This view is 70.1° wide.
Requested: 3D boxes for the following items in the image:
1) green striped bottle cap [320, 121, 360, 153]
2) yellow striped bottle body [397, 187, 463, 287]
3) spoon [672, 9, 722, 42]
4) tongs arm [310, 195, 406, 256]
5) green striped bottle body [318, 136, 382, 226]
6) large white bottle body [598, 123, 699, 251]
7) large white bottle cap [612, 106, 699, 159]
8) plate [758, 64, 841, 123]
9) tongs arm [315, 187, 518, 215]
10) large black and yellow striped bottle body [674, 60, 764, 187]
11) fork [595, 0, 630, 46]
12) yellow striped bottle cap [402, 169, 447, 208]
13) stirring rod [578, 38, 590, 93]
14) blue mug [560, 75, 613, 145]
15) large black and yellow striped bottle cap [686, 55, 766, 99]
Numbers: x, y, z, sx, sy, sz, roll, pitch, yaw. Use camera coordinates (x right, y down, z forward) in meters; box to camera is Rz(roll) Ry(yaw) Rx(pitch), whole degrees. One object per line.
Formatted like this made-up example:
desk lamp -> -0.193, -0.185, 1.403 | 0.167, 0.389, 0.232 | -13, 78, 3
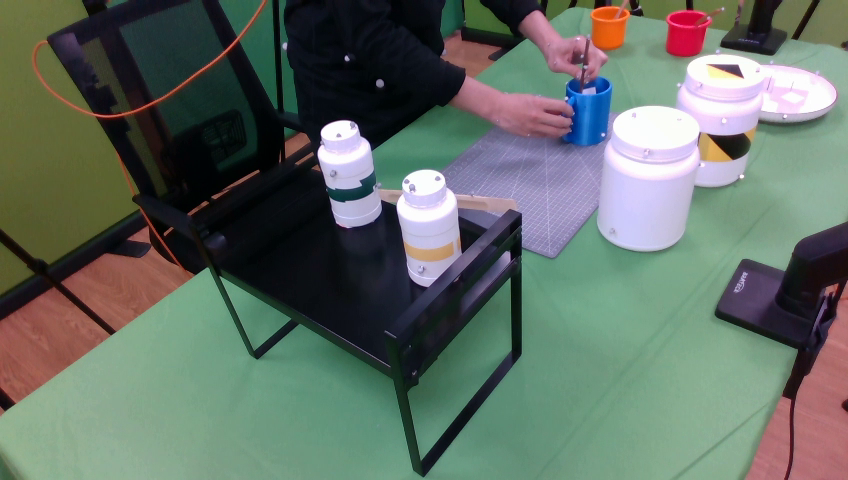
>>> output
green striped bottle cap -> -0.097, -0.120, 0.699 | 0.044, 0.020, 0.044 | -4, 39, 3
yellow striped bottle body -> 0.007, -0.013, 0.638 | 0.063, 0.121, 0.062 | -5, 41, 4
spoon -> 0.606, -0.476, 1.345 | 0.042, 0.021, 0.193 | -6, -3, -2
tongs arm -> -0.078, -0.013, 0.944 | 0.028, 0.028, 0.384 | -42, 39, -23
green striped bottle body -> -0.090, -0.080, 0.733 | 0.063, 0.120, 0.063 | -5, 41, 4
large white bottle body -> 0.334, -0.090, 0.906 | 0.130, 0.185, 0.130 | -5, 41, 5
large white bottle cap -> 0.325, -0.153, 0.850 | 0.115, 0.018, 0.114 | -4, 41, 4
plate -> 0.694, -0.283, 1.189 | 0.207, 0.039, 0.206 | -4, 40, 4
tongs arm -> -0.028, -0.060, 0.988 | 0.382, 0.027, 0.051 | 10, 45, 36
large black and yellow striped bottle body -> 0.482, -0.196, 1.008 | 0.131, 0.185, 0.130 | -4, 41, 4
fork -> 0.480, -0.556, 1.453 | 0.028, 0.019, 0.207 | 41, 104, 42
yellow striped bottle cap -> 0.000, -0.052, 0.605 | 0.044, 0.019, 0.044 | -5, 43, 5
stirring rod -> 0.288, -0.281, 1.111 | 0.006, 0.176, 0.014 | 11, 34, 14
blue mug -> 0.298, -0.239, 1.142 | 0.117, 0.106, 0.081 | -32, 46, -25
large black and yellow striped bottle cap -> 0.474, -0.258, 0.952 | 0.115, 0.019, 0.114 | -5, 41, 5
